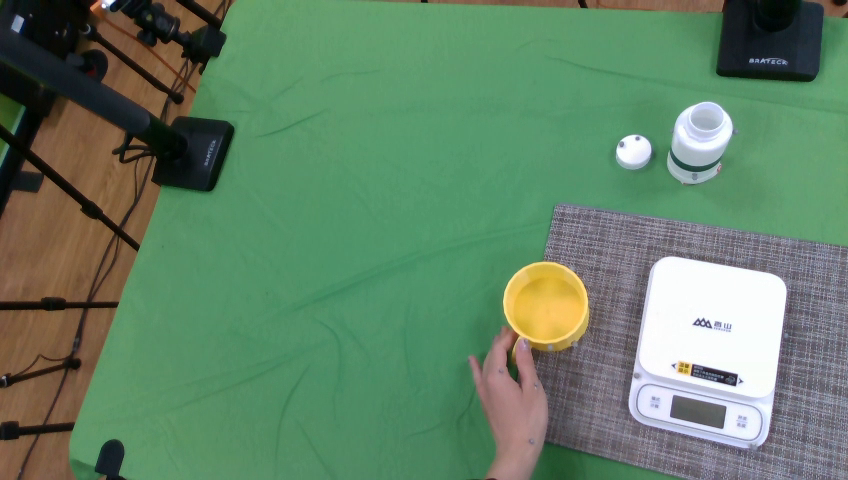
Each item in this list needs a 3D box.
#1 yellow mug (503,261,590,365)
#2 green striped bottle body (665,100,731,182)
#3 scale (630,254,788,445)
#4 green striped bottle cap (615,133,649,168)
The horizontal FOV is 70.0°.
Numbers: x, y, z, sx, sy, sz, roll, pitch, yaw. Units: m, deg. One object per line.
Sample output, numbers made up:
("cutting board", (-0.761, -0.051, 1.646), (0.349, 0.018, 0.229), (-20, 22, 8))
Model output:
("yellow mug", (0.143, 0.095, 0.739), (0.099, 0.064, 0.130), (29, 83, 22))
("green striped bottle body", (0.330, -0.122, 0.732), (0.063, 0.120, 0.063), (-5, 70, 14))
("scale", (0.327, 0.121, 0.698), (0.148, 0.032, 0.200), (10, 76, 19))
("green striped bottle cap", (0.277, -0.119, 0.804), (0.044, 0.020, 0.044), (-3, 77, 15))
